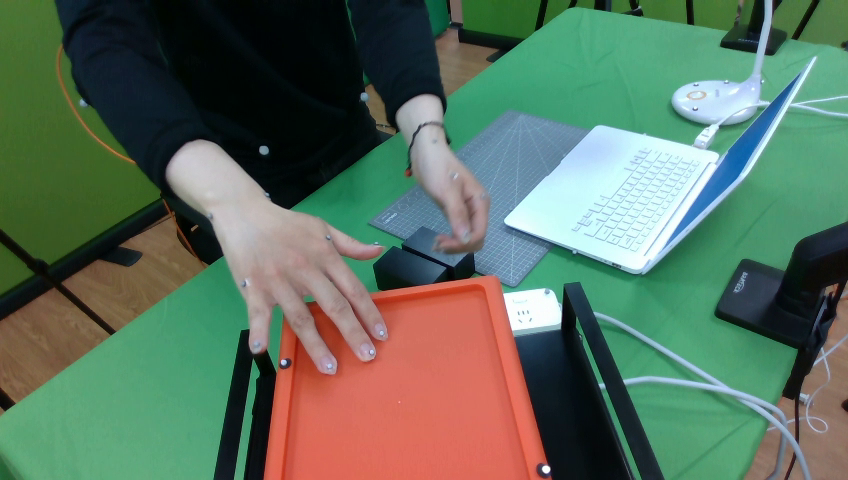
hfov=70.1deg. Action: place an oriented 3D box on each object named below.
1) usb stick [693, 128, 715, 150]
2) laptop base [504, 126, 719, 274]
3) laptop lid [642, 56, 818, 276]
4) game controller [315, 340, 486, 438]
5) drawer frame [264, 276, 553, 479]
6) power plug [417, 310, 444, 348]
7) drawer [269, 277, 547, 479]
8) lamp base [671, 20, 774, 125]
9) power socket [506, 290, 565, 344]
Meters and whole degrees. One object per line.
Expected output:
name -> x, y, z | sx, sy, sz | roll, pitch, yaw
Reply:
usb stick -> 0.501, -0.175, 1.091 | 0.021, 0.027, 0.059 | 30, 56, 28
laptop base -> 0.325, -0.084, 1.027 | 0.233, 0.023, 0.355 | 21, 48, 32
laptop lid -> 0.445, -0.108, 0.876 | 0.013, 0.241, 0.357 | 39, 53, 12
game controller -> -0.021, 0.120, 0.534 | 0.155, 0.052, 0.096 | -4, 36, 0
drawer frame -> -0.016, 0.137, 0.490 | 0.202, 0.083, 0.212 | -8, 41, -2
power plug -> 0.007, 0.123, 0.784 | 0.035, 0.053, 0.072 | 0, 42, 8
drawer -> -0.018, 0.137, 0.493 | 0.195, 0.073, 0.210 | -7, 41, -1
lamp base -> 0.581, -0.332, 1.154 | 0.179, 0.181, 0.160 | 2, 41, 7
power socket -> 0.081, 0.112, 0.822 | 0.227, 0.033, 0.072 | -7, 40, 0
